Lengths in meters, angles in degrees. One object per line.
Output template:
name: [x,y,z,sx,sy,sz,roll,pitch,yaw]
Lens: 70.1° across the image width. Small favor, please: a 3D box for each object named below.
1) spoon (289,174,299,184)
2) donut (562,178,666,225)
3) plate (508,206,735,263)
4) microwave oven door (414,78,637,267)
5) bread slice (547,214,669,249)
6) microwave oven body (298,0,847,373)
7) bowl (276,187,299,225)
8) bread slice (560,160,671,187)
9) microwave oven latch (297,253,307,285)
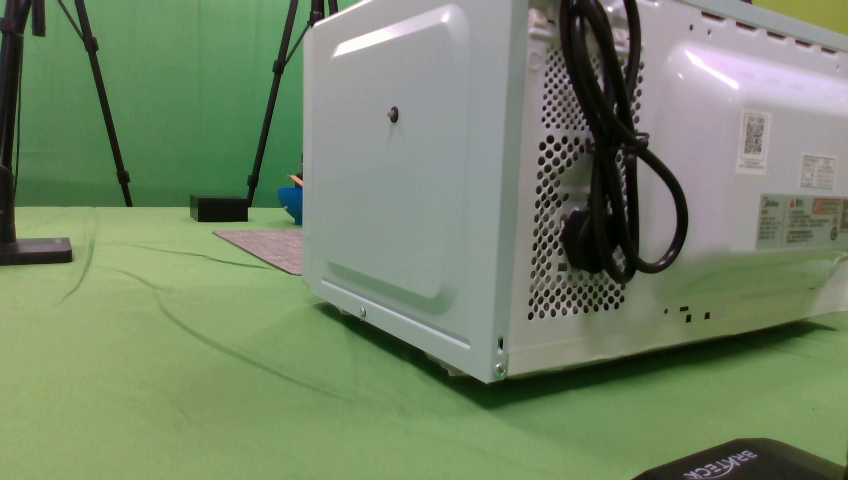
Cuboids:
spoon: [-0.261,-0.111,1.343,0.042,0.021,0.192,-8,33,-30]
donut: [0.184,-0.037,0.588,0.099,0.048,0.099,0,3,0]
plate: [0.186,-0.007,0.590,0.208,0.039,0.207,2,7,0]
microwave oven door: [0.128,-0.104,0.889,0.354,0.243,0.039,9,10,41]
bread slice: [0.181,-0.007,0.588,0.107,0.018,0.134,-6,-6,4]
microwave oven body: [0.151,-0.055,0.543,0.444,0.260,0.324,-1,7,-33]
bowl: [-0.241,-0.073,1.302,0.151,0.077,0.151,2,7,0]
bread slice: [0.184,-0.063,0.580,0.104,0.019,0.132,6,5,14]
microwave oven latch: [-0.082,0.027,0.582,0.079,0.029,0.030,-1,7,-32]
